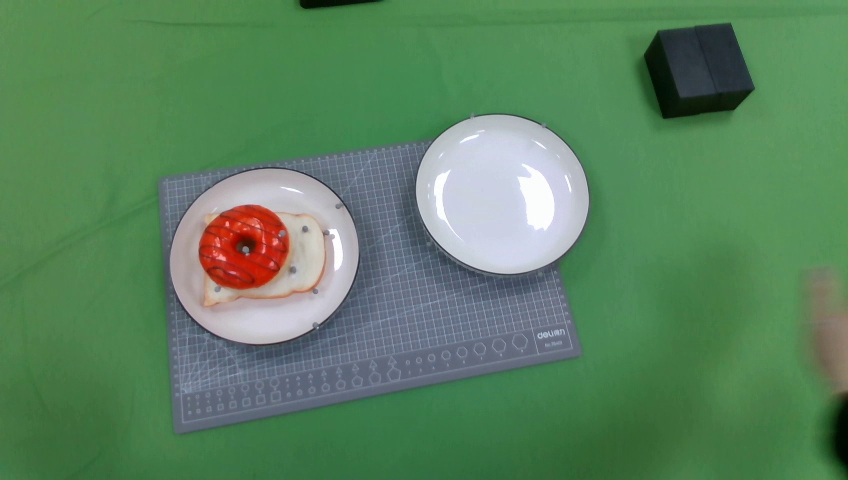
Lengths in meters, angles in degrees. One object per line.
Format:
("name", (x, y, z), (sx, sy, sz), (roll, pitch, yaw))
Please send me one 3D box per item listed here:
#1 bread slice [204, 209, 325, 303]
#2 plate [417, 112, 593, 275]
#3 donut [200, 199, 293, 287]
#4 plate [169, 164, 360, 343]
("bread slice", (-0.181, 0.012, 0.686), (0.134, 0.018, 0.106), (-7, 73, -7))
("plate", (0.094, -0.054, 0.724), (0.208, 0.039, 0.206), (1, 71, -3))
("donut", (-0.193, 0.003, 0.659), (0.099, 0.048, 0.098), (1, 72, -2))
("plate", (-0.176, 0.016, 0.685), (0.209, 0.038, 0.207), (1, 71, -3))
